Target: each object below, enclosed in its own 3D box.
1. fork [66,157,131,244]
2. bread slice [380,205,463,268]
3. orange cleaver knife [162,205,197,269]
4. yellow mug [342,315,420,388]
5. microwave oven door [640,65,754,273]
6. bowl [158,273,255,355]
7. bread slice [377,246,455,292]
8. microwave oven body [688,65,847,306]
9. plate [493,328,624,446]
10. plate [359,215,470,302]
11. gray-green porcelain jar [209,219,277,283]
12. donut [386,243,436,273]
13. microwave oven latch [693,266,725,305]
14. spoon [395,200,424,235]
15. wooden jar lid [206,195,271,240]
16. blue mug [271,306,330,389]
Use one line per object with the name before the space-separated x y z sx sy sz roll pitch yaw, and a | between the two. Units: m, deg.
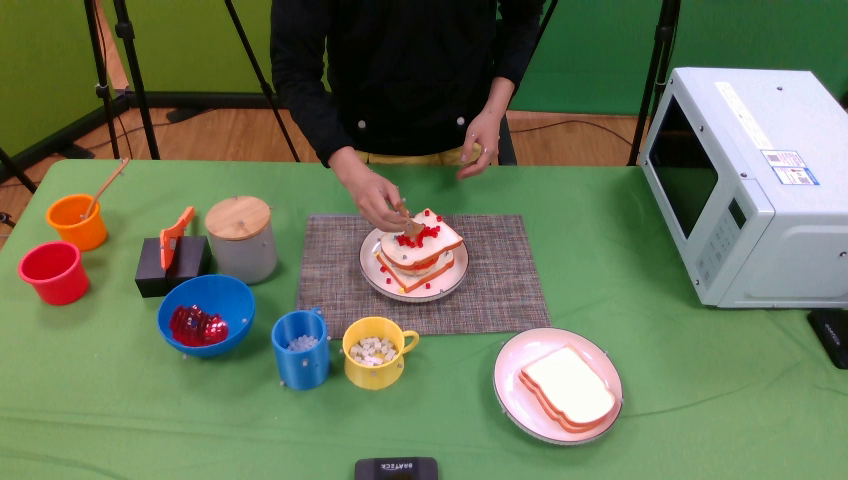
fork | -0.608 -0.074 1.132 0.207 0.019 0.028 -52 48 10
bread slice | -0.011 -0.001 1.097 0.134 0.018 0.106 -33 52 -24
orange cleaver knife | -0.454 -0.010 1.129 0.012 0.077 0.210 -1 20 -5
yellow mug | -0.068 0.177 0.990 0.131 0.064 0.099 -15 50 -20
microwave oven door | 0.523 -0.147 1.193 0.039 0.245 0.353 0 47 -3
bowl | -0.351 0.136 1.001 0.151 0.077 0.150 2 46 -2
bread slice | -0.010 0.034 1.151 0.131 0.019 0.104 -29 56 -23
microwave oven body | 0.669 -0.111 1.176 0.326 0.261 0.439 0 46 -3
plate | 0.213 0.236 0.974 0.208 0.039 0.206 2 46 -2
plate | -0.019 0.038 1.140 0.209 0.038 0.208 2 46 -2
gray-green porcelain jar | -0.323 0.007 1.092 0.106 0.127 0.105 2 46 -2
donut | -0.023 0.018 1.120 0.099 0.048 0.098 -10 48 11
microwave oven latch | 0.523 0.081 1.115 0.030 0.029 0.078 3 46 0
spoon | -0.029 -0.037 1.003 0.041 0.194 0.021 -24 73 2
wooden jar lid | -0.319 -0.036 1.046 0.108 0.021 0.107 1 44 0
blue mug | -0.188 0.163 0.969 0.082 0.106 0.116 15 47 10
